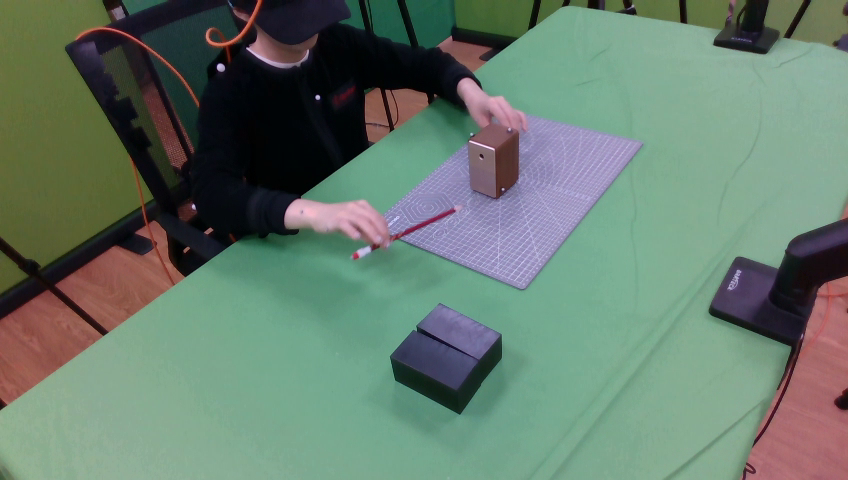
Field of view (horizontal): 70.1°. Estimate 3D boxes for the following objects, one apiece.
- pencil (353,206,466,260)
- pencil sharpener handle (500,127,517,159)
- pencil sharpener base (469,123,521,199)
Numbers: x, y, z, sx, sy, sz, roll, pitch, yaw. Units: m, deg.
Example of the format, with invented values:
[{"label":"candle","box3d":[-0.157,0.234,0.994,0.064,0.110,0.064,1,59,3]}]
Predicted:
[{"label":"pencil","box3d":[-0.019,-0.013,0.910,0.195,0.012,0.012,-25,43,-17]},{"label":"pencil sharpener handle","box3d":[0.155,-0.177,1.071,0.036,0.068,0.031,32,53,25]},{"label":"pencil sharpener base","box3d":[0.126,-0.138,1.050,0.061,0.107,0.077,24,50,33]}]
